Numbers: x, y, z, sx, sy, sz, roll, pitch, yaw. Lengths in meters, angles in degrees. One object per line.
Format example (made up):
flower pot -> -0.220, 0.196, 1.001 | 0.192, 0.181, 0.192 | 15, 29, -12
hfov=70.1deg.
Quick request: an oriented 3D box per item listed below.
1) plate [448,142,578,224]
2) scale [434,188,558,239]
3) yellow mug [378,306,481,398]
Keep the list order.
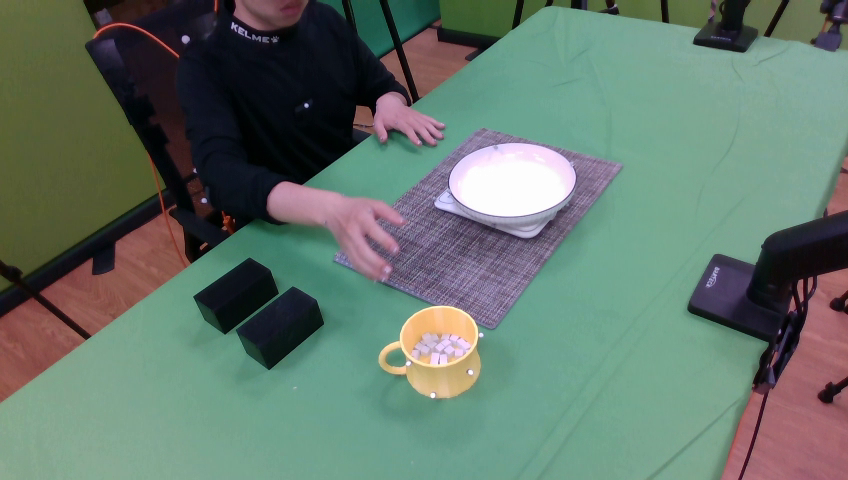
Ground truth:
plate -> 0.145, -0.089, 0.989 | 0.209, 0.038, 0.208 | -4, 41, 4
scale -> 0.132, -0.075, 1.025 | 0.199, 0.032, 0.149 | 22, 48, 30
yellow mug -> 0.006, 0.144, 0.767 | 0.131, 0.064, 0.099 | -10, 40, -2
